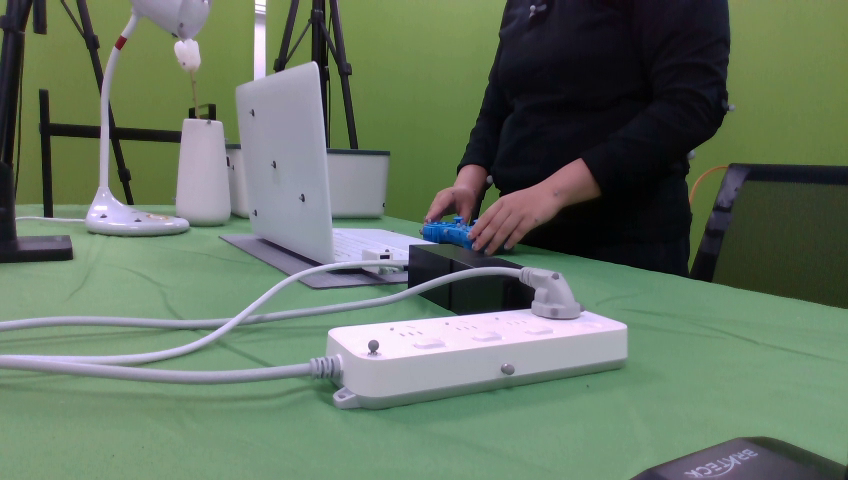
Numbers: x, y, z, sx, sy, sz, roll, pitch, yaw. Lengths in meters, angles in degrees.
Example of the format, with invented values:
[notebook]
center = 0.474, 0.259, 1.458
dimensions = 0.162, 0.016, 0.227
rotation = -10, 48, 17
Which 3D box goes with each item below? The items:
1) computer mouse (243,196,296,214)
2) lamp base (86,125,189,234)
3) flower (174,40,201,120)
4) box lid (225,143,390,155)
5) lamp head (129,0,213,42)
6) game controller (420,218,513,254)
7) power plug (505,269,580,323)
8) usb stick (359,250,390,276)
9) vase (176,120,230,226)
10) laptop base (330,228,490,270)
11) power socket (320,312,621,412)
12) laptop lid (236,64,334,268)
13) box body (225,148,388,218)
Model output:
[computer mouse]
center = -0.362, -0.082, 1.416
dimensions = 0.117, 0.041, 0.063
rotation = -3, 10, 5
[lamp base]
center = -0.497, -0.105, 1.027
dimensions = 0.179, 0.180, 0.160
rotation = 1, 7, 2
[flower]
center = -0.430, -0.211, 1.165
dimensions = 0.044, 0.361, 0.038
rotation = -10, -5, -24
[box lid]
center = -0.296, -0.217, 1.463
dimensions = 0.373, 0.015, 0.262
rotation = -2, 8, -29
[lamp head]
center = -0.423, -0.394, 0.980
dimensions = 0.123, 0.112, 0.112
rotation = 20, 7, -3
[game controller]
center = 0.066, -0.008, 1.026
dimensions = 0.097, 0.051, 0.154
rotation = -11, 14, -43
[power plug]
center = 0.092, 0.051, 0.470
dimensions = 0.035, 0.052, 0.072
rotation = 0, 6, -16
[usb stick]
center = -0.061, 0.026, 0.708
dimensions = 0.021, 0.027, 0.059
rotation = -3, 4, -29
[vase]
center = -0.424, -0.128, 1.159
dimensions = 0.098, 0.200, 0.098
rotation = 2, 9, 0
[laptop base]
center = -0.096, 0.011, 0.912
dimensions = 0.237, 0.023, 0.352
rotation = 2, 6, -32
[power socket]
center = 0.038, 0.075, 0.409
dimensions = 0.228, 0.032, 0.072
rotation = -2, 8, -29
[laptop lid]
center = -0.202, -0.103, 0.828
dimensions = 0.013, 0.241, 0.355
rotation = -9, 14, -30
[box body]
center = -0.298, -0.143, 1.474
dimensions = 0.366, 0.160, 0.253
rotation = -1, 9, -30
